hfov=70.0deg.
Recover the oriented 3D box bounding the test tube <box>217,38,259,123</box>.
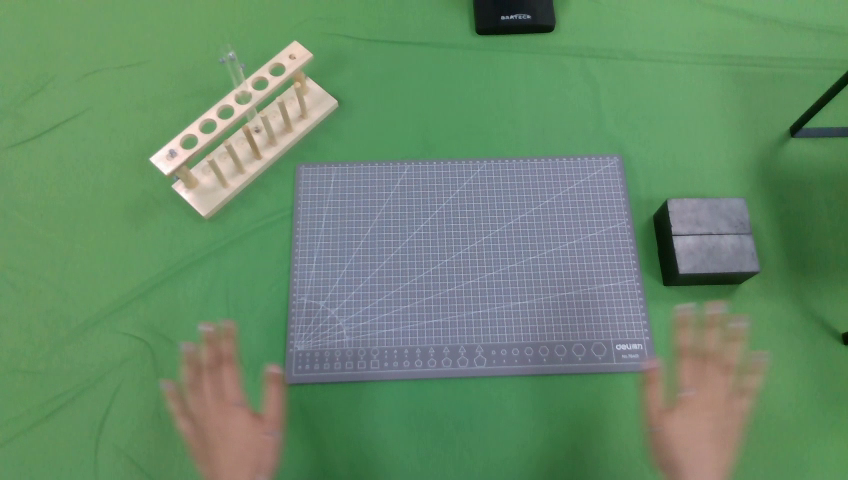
[{"bbox_3d":[-0.231,-0.195,0.763,0.017,0.151,0.017,1,65,-1],"label":"test tube"}]

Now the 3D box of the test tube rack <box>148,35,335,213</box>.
[{"bbox_3d":[-0.231,-0.153,0.799,0.066,0.086,0.242,41,74,14],"label":"test tube rack"}]
